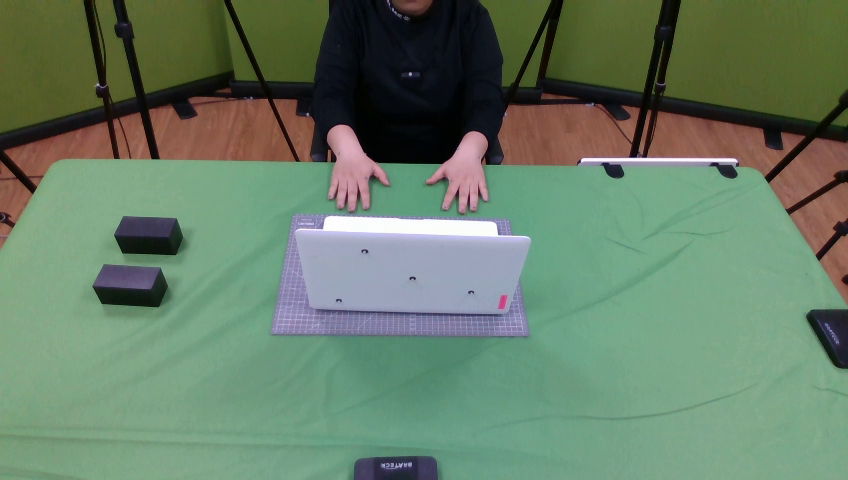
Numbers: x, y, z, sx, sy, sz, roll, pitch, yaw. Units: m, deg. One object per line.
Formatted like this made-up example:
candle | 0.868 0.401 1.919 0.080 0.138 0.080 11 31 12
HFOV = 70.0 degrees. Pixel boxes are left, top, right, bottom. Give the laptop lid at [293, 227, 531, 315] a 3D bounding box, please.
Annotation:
laptop lid | -0.021 0.058 0.975 0.357 0.243 0.013 3 53 -4

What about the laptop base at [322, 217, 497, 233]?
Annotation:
laptop base | -0.027 0.045 1.154 0.354 0.023 0.234 2 43 -3
